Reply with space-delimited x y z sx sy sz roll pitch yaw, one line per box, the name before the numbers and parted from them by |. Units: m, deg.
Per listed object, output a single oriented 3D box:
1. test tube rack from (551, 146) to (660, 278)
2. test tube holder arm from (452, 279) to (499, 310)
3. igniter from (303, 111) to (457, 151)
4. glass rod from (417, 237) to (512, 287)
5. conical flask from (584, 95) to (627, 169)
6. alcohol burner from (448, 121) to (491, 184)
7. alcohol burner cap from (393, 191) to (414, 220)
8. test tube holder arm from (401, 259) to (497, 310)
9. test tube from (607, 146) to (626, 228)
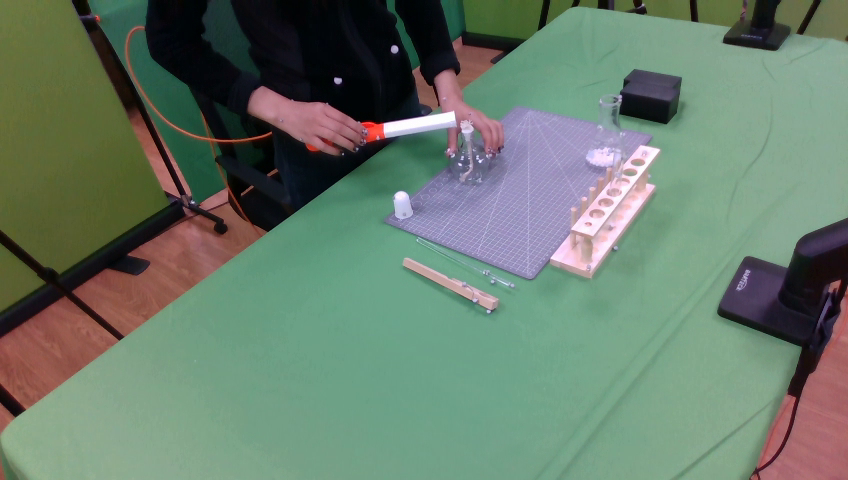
test tube rack | 0.286 -0.053 0.943 0.066 0.085 0.243 21 49 32
test tube holder arm | 0.071 0.078 0.883 0.087 0.015 0.010 23 16 34
igniter | -0.080 -0.192 1.067 0.276 0.025 0.057 -8 45 6
glass rod | 0.059 0.032 0.945 0.198 0.008 0.008 26 52 38
conical flask | 0.323 -0.192 1.066 0.075 0.122 0.075 -6 40 5
alcohol burner | 0.081 -0.160 1.083 0.078 0.119 0.077 -4 40 4
alcohol burner cap | -0.037 -0.062 1.045 0.034 0.048 0.033 -5 40 5
test tube holder arm | 0.034 0.064 0.903 0.177 0.015 0.013 23 16 33
test tube | 0.283 -0.074 0.892 0.017 0.151 0.017 -5 45 6
